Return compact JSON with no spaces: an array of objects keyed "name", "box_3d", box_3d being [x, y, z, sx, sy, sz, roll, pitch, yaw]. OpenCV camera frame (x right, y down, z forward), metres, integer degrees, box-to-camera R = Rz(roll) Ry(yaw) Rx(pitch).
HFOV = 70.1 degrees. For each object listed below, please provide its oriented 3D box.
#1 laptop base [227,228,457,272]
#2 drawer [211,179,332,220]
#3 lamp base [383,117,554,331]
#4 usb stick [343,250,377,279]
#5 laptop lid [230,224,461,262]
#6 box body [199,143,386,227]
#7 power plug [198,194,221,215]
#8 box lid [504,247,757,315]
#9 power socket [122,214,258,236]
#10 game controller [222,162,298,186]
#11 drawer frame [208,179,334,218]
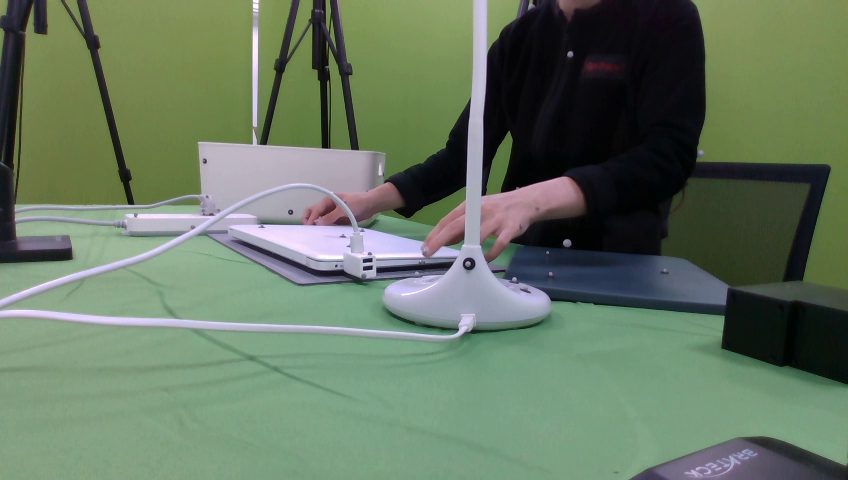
[{"name":"laptop base","box_3d":[-0.122,0.012,0.889,0.237,0.023,0.352,2,6,-35]},{"name":"drawer","box_3d":[-0.328,-0.095,1.332,0.212,0.073,0.194,5,8,6]},{"name":"lamp base","box_3d":[0.045,-0.019,0.547,0.161,0.180,0.179,2,10,-4]},{"name":"usb stick","box_3d":[-0.076,0.026,0.687,0.021,0.027,0.059,-8,8,-31]},{"name":"laptop lid","box_3d":[-0.120,0.000,0.889,0.243,0.013,0.355,1,7,-33]},{"name":"box body","box_3d":[-0.276,-0.124,1.335,0.364,0.160,0.254,3,7,1]},{"name":"power plug","box_3d":[-0.387,-0.055,1.089,0.035,0.052,0.072,-1,6,-22]},{"name":"box lid","box_3d":[0.244,0.044,0.793,0.263,0.015,0.372,4,6,10]},{"name":"power socket","box_3d":[-0.399,-0.028,1.049,0.228,0.032,0.072,-3,8,-34]},{"name":"game controller","box_3d":[-0.357,-0.143,1.321,0.156,0.051,0.097,1,2,-16]},{"name":"drawer frame","box_3d":[-0.327,-0.093,1.328,0.213,0.082,0.202,0,5,6]}]
